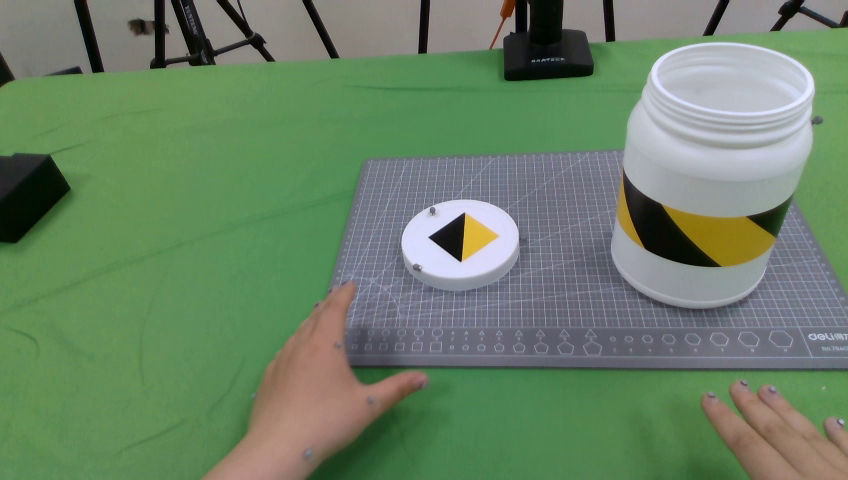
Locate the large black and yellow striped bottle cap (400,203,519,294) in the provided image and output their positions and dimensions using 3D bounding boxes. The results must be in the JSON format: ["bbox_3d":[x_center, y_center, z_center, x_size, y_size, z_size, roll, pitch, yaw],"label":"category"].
[{"bbox_3d":[0.034,0.005,0.590,0.115,0.019,0.114,-3,43,3],"label":"large black and yellow striped bottle cap"}]

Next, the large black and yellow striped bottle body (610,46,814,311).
[{"bbox_3d":[0.226,-0.047,0.491,0.131,0.186,0.129,-4,42,4],"label":"large black and yellow striped bottle body"}]
